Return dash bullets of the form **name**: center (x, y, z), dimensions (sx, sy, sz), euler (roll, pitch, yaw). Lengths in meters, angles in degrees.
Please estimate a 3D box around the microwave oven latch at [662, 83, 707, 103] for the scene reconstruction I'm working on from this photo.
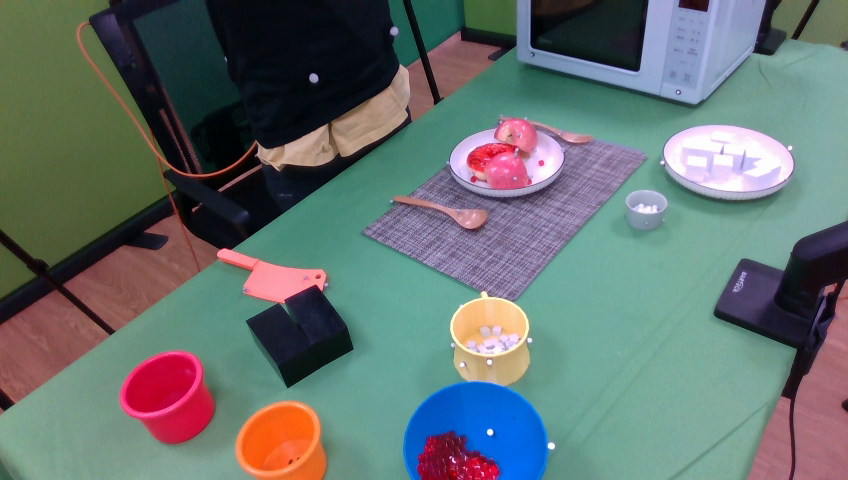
- **microwave oven latch**: center (0.517, -0.296, 1.204), dimensions (0.078, 0.029, 0.030), euler (27, 52, 35)

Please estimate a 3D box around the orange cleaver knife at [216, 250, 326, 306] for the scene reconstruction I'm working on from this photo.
- **orange cleaver knife**: center (-0.248, 0.058, 0.945), dimensions (0.210, 0.012, 0.077), euler (12, 49, 20)

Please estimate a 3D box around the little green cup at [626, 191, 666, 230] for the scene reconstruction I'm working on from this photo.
- **little green cup**: center (0.352, -0.046, 0.963), dimensions (0.061, 0.039, 0.061), euler (-4, 40, 4)

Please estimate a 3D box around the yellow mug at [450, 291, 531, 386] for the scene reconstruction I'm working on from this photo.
- **yellow mug**: center (0.085, 0.120, 0.786), dimensions (0.100, 0.064, 0.130), euler (-7, 39, 1)

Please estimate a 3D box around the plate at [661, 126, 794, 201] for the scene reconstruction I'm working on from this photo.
- **plate**: center (0.513, -0.128, 1.035), dimensions (0.207, 0.039, 0.206), euler (-4, 40, 4)

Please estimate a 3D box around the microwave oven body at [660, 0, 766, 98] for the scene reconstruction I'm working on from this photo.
- **microwave oven body**: center (0.472, -0.513, 1.317), dimensions (0.438, 0.261, 0.327), euler (26, 51, 34)

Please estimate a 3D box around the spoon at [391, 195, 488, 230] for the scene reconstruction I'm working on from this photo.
- **spoon**: center (0.022, -0.054, 1.029), dimensions (0.192, 0.022, 0.041), euler (18, 73, 26)

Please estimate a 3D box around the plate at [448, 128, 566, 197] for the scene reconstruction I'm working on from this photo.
- **plate**: center (0.150, -0.138, 1.097), dimensions (0.209, 0.038, 0.208), euler (-4, 40, 4)

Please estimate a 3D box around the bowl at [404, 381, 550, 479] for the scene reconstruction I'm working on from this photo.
- **bowl**: center (0.058, 0.235, 0.645), dimensions (0.151, 0.077, 0.150), euler (-4, 39, 4)

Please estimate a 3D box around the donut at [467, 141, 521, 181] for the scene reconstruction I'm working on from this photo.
- **donut**: center (0.126, -0.145, 1.091), dimensions (0.099, 0.048, 0.098), euler (-5, 40, 5)

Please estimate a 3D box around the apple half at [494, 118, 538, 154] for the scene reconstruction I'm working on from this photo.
- **apple half**: center (0.175, -0.196, 1.114), dimensions (0.080, 0.053, 0.075), euler (29, 12, 34)

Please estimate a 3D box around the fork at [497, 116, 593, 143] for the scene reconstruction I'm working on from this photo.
- **fork**: center (0.234, -0.221, 1.195), dimensions (0.206, 0.019, 0.028), euler (23, 55, 29)

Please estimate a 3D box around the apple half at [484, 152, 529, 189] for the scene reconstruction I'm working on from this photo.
- **apple half**: center (0.144, -0.116, 1.032), dimensions (0.081, 0.033, 0.081), euler (3, 77, -11)

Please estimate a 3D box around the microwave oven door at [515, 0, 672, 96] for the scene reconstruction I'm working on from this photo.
- **microwave oven door**: center (0.343, -0.455, 1.259), dimensions (0.353, 0.245, 0.039), euler (26, 51, 33)
